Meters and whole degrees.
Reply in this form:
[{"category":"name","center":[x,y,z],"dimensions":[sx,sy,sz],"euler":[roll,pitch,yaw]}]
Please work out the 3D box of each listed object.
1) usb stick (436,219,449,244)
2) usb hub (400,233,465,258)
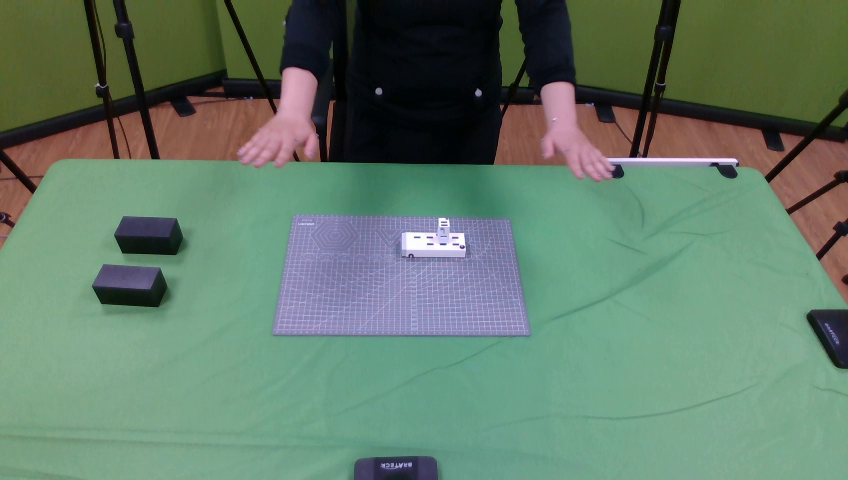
[{"category":"usb stick","center":[0.035,-0.012,1.166],"dimensions":[0.021,0.059,0.027],"euler":[-2,48,-6]},{"category":"usb hub","center":[0.017,0.011,1.182],"dimensions":[0.125,0.025,0.049],"euler":[1,46,-3]}]
